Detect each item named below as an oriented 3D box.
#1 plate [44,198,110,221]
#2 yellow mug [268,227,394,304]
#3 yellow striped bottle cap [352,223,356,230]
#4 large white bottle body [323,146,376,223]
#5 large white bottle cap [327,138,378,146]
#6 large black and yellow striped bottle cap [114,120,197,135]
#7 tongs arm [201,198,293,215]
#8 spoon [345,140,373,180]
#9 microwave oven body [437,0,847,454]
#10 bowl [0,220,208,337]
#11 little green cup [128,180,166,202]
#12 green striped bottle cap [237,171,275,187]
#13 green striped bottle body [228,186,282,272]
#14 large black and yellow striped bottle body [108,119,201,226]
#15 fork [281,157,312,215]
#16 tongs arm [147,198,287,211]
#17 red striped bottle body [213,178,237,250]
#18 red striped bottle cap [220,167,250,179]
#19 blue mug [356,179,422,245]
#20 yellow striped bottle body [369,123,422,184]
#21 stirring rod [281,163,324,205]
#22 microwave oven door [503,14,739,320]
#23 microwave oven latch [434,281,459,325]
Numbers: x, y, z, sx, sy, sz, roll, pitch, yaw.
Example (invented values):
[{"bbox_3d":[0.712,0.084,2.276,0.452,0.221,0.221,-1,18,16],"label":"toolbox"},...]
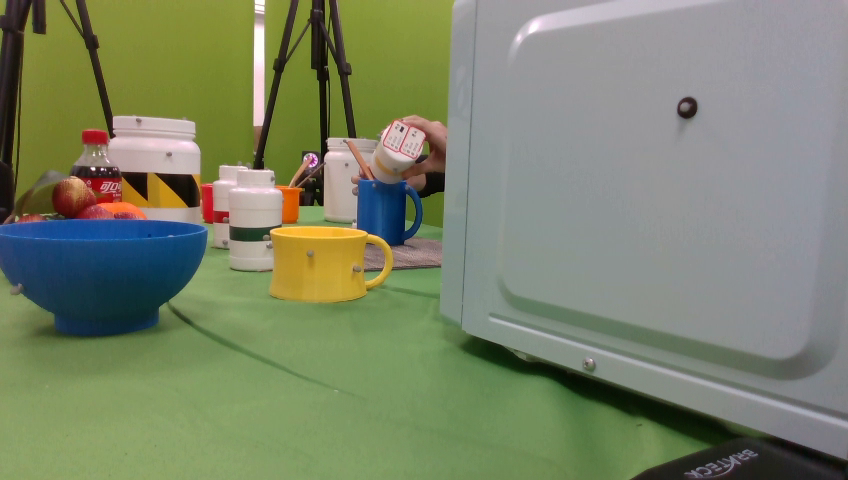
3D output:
[{"bbox_3d":[-0.617,-0.056,1.179,0.209,0.038,0.209,3,7,0],"label":"plate"},{"bbox_3d":[-0.094,0.023,0.630,0.131,0.064,0.099,0,8,-22],"label":"yellow mug"},{"bbox_3d":[-0.115,-0.022,1.144,0.044,0.018,0.044,3,8,0],"label":"yellow striped bottle cap"},{"bbox_3d":[-0.163,-0.134,1.369,0.131,0.184,0.130,2,7,0],"label":"large white bottle body"},{"bbox_3d":[-0.160,-0.218,1.357,0.115,0.018,0.115,2,8,0],"label":"large white bottle cap"},{"bbox_3d":[-0.407,-0.171,0.920,0.115,0.019,0.115,2,9,0],"label":"large black and yellow striped bottle cap"},{"bbox_3d":[-0.423,-0.084,1.472,0.050,0.026,0.386,2,6,21],"label":"tongs arm"},{"bbox_3d":[-0.090,-0.094,1.027,0.042,0.193,0.021,-8,-23,-45],"label":"spoon"},{"bbox_3d":[0.279,-0.040,0.464,0.444,0.260,0.324,-3,9,-41],"label":"microwave oven body"},{"bbox_3d":[-0.251,0.029,0.479,0.151,0.077,0.151,2,7,0],"label":"bowl"},{"bbox_3d":[-0.485,-0.087,1.062,0.061,0.038,0.061,-1,6,0],"label":"little green cup"},{"bbox_3d":[-0.205,-0.074,0.738,0.044,0.020,0.044,1,9,0],"label":"green striped bottle cap"},{"bbox_3d":[-0.208,-0.023,0.745,0.063,0.119,0.063,2,7,0],"label":"green striped bottle body"},{"bbox_3d":[-0.412,-0.088,0.930,0.131,0.184,0.130,3,7,0],"label":"large black and yellow striped bottle body"},{"bbox_3d":[-0.289,-0.116,1.321,0.028,0.019,0.207,6,51,19],"label":"fork"},{"bbox_3d":[-0.504,-0.091,1.513,0.028,0.028,0.389,0,4,37],"label":"tongs arm"},{"bbox_3d":[-0.284,-0.048,0.909,0.063,0.119,0.063,3,10,0],"label":"red striped bottle body"},{"bbox_3d":[-0.281,-0.100,0.901,0.044,0.017,0.044,-1,5,0],"label":"red striped bottle cap"},{"bbox_3d":[-0.057,-0.047,1.007,0.116,0.106,0.082,5,8,20],"label":"blue mug"},{"bbox_3d":[-0.048,-0.127,0.929,0.063,0.062,0.120,0,-15,-17],"label":"yellow striped bottle body"},{"bbox_3d":[-0.278,-0.105,1.293,0.176,0.006,0.014,-47,24,-18],"label":"stirring rod"},{"bbox_3d":[0.217,-0.065,0.601,0.358,0.243,0.039,-4,10,-41],"label":"microwave oven door"},{"bbox_3d":[0.044,0.045,0.470,0.079,0.029,0.030,-2,8,-39],"label":"microwave oven latch"}]
